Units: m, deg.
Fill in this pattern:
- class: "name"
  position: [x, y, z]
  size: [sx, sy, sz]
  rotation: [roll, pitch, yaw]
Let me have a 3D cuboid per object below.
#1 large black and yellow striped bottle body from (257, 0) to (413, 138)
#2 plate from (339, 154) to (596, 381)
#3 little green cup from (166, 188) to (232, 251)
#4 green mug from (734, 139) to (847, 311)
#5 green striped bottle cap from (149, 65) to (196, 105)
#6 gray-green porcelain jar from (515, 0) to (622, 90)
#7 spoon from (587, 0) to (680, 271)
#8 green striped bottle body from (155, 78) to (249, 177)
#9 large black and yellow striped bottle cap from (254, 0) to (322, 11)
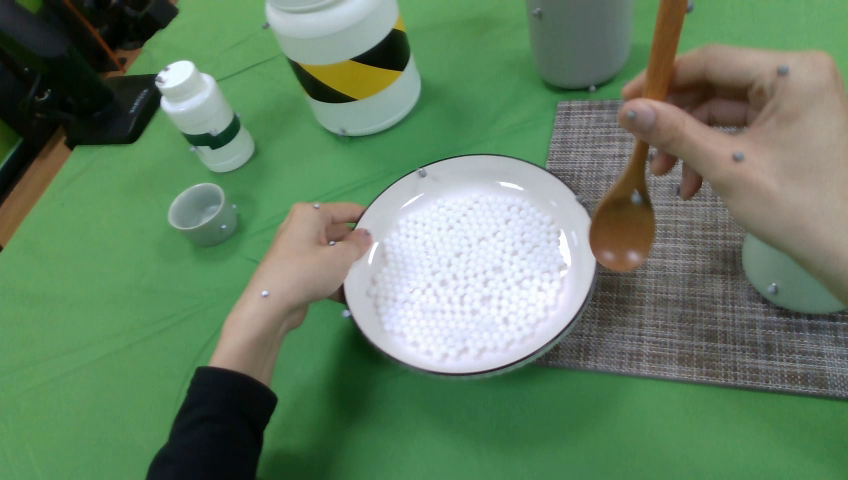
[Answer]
- class: "large black and yellow striped bottle body"
  position: [-0.095, -0.215, 0.648]
  size: [0.130, 0.186, 0.129]
  rotation: [-8, 54, 11]
- class: "plate"
  position: [0.035, 0.020, 0.497]
  size: [0.209, 0.038, 0.207]
  rotation: [-7, 56, 11]
- class: "little green cup"
  position: [-0.236, -0.020, 0.641]
  size: [0.061, 0.039, 0.061]
  rotation: [-8, 52, 11]
- class: "green mug"
  position: [0.293, -0.002, 0.427]
  size: [0.124, 0.106, 0.092]
  rotation: [25, 64, 29]
- class: "green striped bottle cap"
  position: [-0.262, -0.161, 0.633]
  size: [0.044, 0.020, 0.044]
  rotation: [-6, 56, 9]
- class: "gray-green porcelain jar"
  position: [0.150, -0.230, 0.624]
  size: [0.105, 0.128, 0.105]
  rotation: [-8, 53, 11]
- class: "spoon"
  position: [0.123, -0.059, 0.343]
  size: [0.041, 0.195, 0.021]
  rotation: [9, 44, 14]
- class: "green striped bottle body"
  position: [-0.250, -0.131, 0.674]
  size: [0.063, 0.120, 0.062]
  rotation: [-8, 53, 11]
- class: "large black and yellow striped bottle cap"
  position: [-0.116, -0.262, 0.581]
  size: [0.115, 0.019, 0.114]
  rotation: [-8, 52, 11]
